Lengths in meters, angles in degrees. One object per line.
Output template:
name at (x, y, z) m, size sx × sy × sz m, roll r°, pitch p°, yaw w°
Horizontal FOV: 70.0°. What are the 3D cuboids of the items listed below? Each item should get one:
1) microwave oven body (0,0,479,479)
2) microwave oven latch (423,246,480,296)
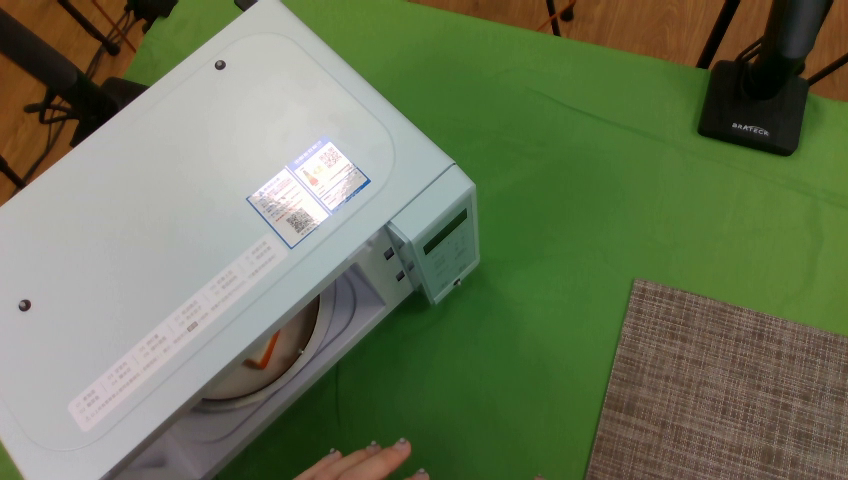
microwave oven body at (-0.207, 0.020, 0.653) m, size 0.441 × 0.262 × 0.324 m, roll -43°, pitch 73°, yaw -8°
microwave oven latch at (0.033, 0.031, 0.727) m, size 0.079 × 0.030 × 0.030 m, roll -41°, pitch 73°, yaw -7°
